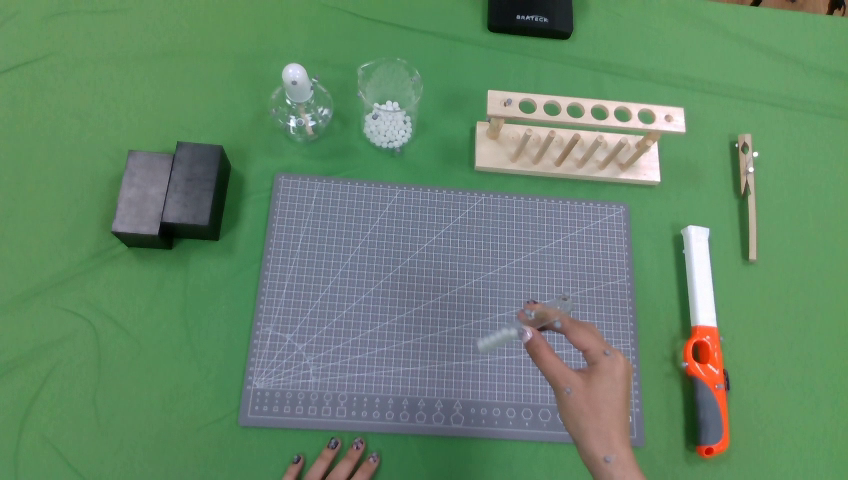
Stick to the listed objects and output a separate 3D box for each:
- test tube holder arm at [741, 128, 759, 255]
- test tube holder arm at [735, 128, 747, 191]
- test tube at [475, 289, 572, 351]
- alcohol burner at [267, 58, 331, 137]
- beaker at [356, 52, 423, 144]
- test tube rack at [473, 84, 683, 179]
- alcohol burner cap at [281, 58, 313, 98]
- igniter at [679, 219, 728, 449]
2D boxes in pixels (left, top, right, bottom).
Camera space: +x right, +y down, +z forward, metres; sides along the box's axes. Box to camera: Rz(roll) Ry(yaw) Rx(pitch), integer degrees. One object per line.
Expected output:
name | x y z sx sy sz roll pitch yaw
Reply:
test tube holder arm | 0.428 -0.066 0.797 0.013 0.015 0.177 -7 69 29
test tube holder arm | 0.427 -0.108 0.813 0.010 0.015 0.087 -5 69 29
test tube | 0.085 0.076 0.549 0.017 0.150 0.017 11 62 -21
alcohol burner | -0.150 -0.175 0.721 0.078 0.119 0.077 2 69 -5
beaker | -0.047 -0.170 0.739 0.084 0.101 0.074 31 71 6
test tube rack | 0.188 -0.133 0.760 0.243 0.085 0.066 4 71 -5
alcohol burner cap | -0.146 -0.186 0.688 0.034 0.048 0.033 1 77 -2
igniter | 0.332 0.107 0.727 0.057 0.025 0.275 8 71 -14
